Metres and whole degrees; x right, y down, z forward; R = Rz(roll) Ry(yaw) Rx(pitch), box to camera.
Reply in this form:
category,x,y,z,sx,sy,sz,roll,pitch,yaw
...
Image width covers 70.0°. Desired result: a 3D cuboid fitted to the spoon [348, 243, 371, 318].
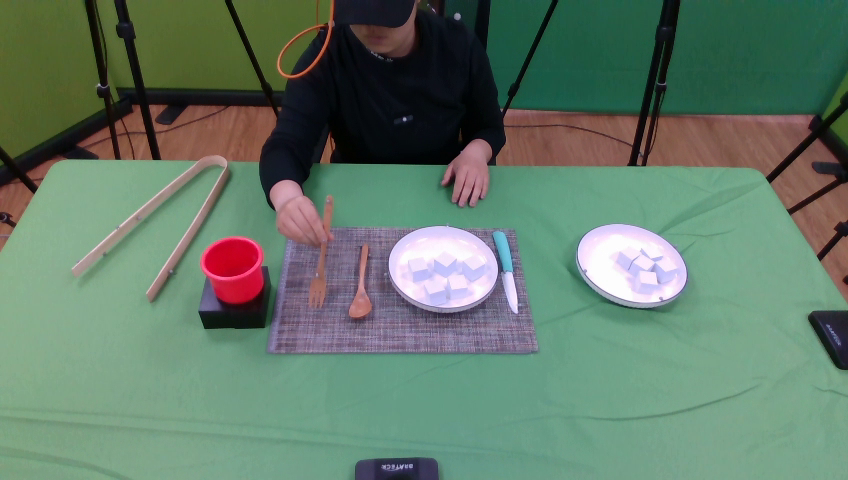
category,x,y,z,sx,sy,sz,roll,pitch,yaw
spoon,-0.113,0.070,1.115,0.041,0.022,0.192,-11,45,11

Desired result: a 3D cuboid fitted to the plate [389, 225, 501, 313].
category,x,y,z,sx,sy,sz,roll,pitch,yaw
plate,0.038,0.057,1.129,0.208,0.039,0.206,2,46,-2

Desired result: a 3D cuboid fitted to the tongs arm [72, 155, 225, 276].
category,x,y,z,sx,sy,sz,roll,pitch,yaw
tongs arm,-0.531,-0.058,1.205,0.050,0.026,0.383,18,47,13

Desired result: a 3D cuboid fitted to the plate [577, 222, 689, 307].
category,x,y,z,sx,sy,sz,roll,pitch,yaw
plate,0.396,0.050,1.165,0.209,0.038,0.208,2,47,-2

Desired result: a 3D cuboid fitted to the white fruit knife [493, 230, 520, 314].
category,x,y,z,sx,sy,sz,roll,pitch,yaw
white fruit knife,0.160,0.057,1.154,0.027,0.016,0.206,-21,46,16

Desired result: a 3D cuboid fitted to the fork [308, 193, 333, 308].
category,x,y,z,sx,sy,sz,roll,pitch,yaw
fork,-0.175,0.021,1.037,0.028,0.208,0.018,8,19,-8

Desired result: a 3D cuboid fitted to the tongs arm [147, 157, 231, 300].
category,x,y,z,sx,sy,sz,roll,pitch,yaw
tongs arm,-0.454,-0.036,1.193,0.028,0.028,0.385,6,46,6
